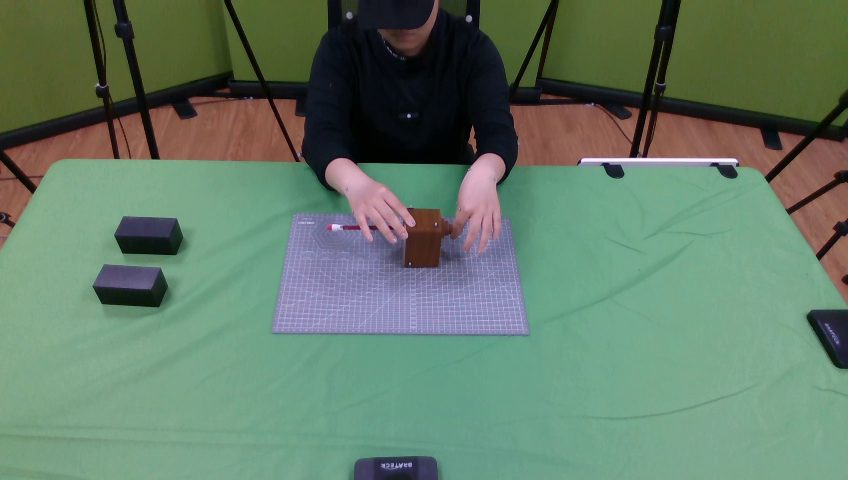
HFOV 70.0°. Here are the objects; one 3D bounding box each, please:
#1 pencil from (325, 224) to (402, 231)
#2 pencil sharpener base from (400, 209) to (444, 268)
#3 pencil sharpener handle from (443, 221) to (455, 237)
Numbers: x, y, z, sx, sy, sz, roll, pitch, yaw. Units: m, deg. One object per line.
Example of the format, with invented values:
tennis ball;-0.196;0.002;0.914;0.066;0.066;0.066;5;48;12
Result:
pencil;-0.083;-0.022;1.111;0.194;0.012;0.012;0;46;-5
pencil sharpener base;-0.004;-0.002;1.136;0.077;0.107;0.061;-1;46;-5
pencil sharpener handle;0.047;-0.019;1.137;0.031;0.068;0.036;-1;77;-5
